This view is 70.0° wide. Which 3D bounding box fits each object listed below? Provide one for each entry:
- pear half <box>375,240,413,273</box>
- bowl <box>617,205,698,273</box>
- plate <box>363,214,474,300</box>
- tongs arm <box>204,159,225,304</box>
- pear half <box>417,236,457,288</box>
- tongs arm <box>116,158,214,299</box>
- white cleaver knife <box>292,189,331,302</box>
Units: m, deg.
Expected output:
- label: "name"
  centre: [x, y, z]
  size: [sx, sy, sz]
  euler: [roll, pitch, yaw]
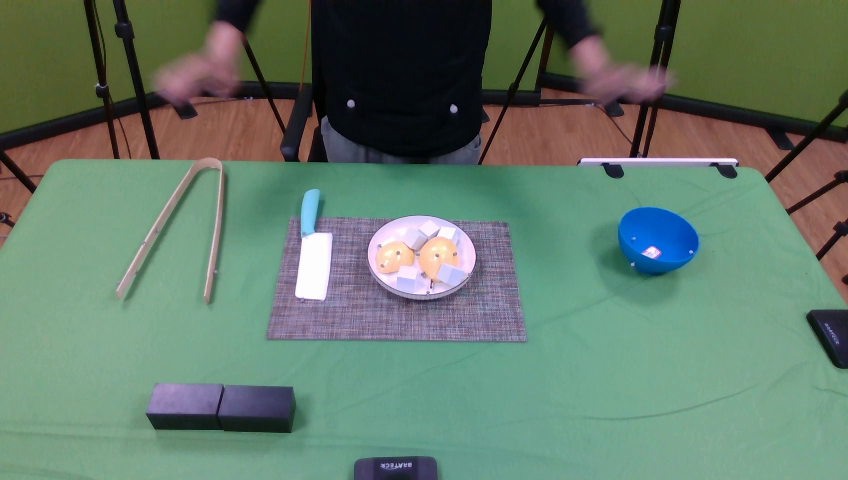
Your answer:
- label: "pear half"
  centre: [-0.059, 0.026, 1.145]
  size: [0.070, 0.031, 0.088]
  euler: [23, 43, 21]
- label: "bowl"
  centre: [0.444, 0.011, 1.182]
  size: [0.151, 0.077, 0.150]
  euler: [2, 46, -2]
- label: "plate"
  centre: [-0.010, 0.036, 1.146]
  size: [0.208, 0.039, 0.206]
  euler: [2, 46, -2]
- label: "tongs arm"
  centre: [-0.415, -0.031, 1.192]
  size: [0.028, 0.028, 0.385]
  euler: [-6, 47, -7]
- label: "pear half"
  centre: [0.022, 0.039, 1.127]
  size: [0.076, 0.056, 0.109]
  euler: [6, 50, 7]
- label: "tongs arm"
  centre: [-0.495, -0.037, 1.184]
  size: [0.051, 0.026, 0.382]
  euler: [6, 45, 0]
- label: "white cleaver knife"
  centre: [-0.215, 0.006, 1.178]
  size: [0.066, 0.021, 0.284]
  euler: [4, 49, -11]
